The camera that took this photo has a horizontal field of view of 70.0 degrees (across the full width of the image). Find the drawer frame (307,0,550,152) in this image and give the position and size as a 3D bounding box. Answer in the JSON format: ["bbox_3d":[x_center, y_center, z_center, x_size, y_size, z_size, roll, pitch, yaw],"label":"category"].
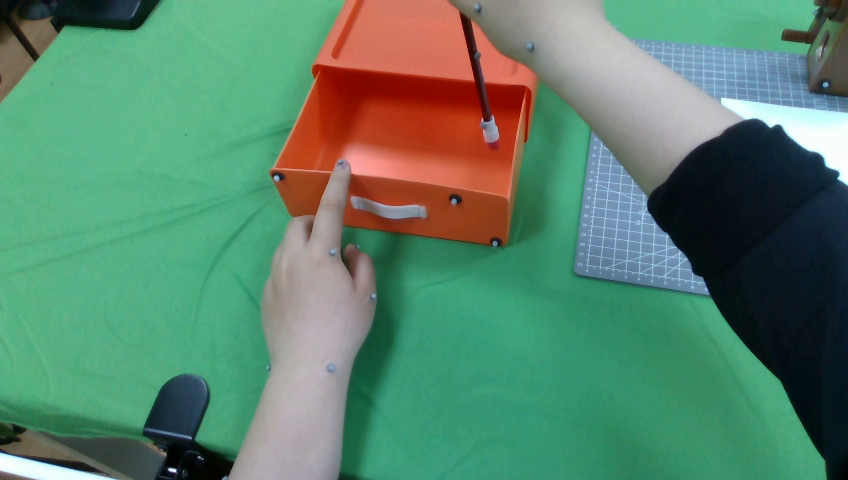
[{"bbox_3d":[0.016,-0.199,0.609,0.201,0.083,0.212,8,56,11],"label":"drawer frame"}]

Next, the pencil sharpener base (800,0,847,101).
[{"bbox_3d":[0.395,-0.184,0.546,0.076,0.108,0.061,10,58,13],"label":"pencil sharpener base"}]

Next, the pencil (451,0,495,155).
[{"bbox_3d":[0.030,-0.139,0.433,0.012,0.196,0.012,-10,45,10],"label":"pencil"}]

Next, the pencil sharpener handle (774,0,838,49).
[{"bbox_3d":[0.345,-0.201,0.548,0.030,0.068,0.036,10,63,13],"label":"pencil sharpener handle"}]

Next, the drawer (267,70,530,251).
[{"bbox_3d":[-0.009,-0.102,0.548,0.194,0.074,0.210,7,56,11],"label":"drawer"}]
